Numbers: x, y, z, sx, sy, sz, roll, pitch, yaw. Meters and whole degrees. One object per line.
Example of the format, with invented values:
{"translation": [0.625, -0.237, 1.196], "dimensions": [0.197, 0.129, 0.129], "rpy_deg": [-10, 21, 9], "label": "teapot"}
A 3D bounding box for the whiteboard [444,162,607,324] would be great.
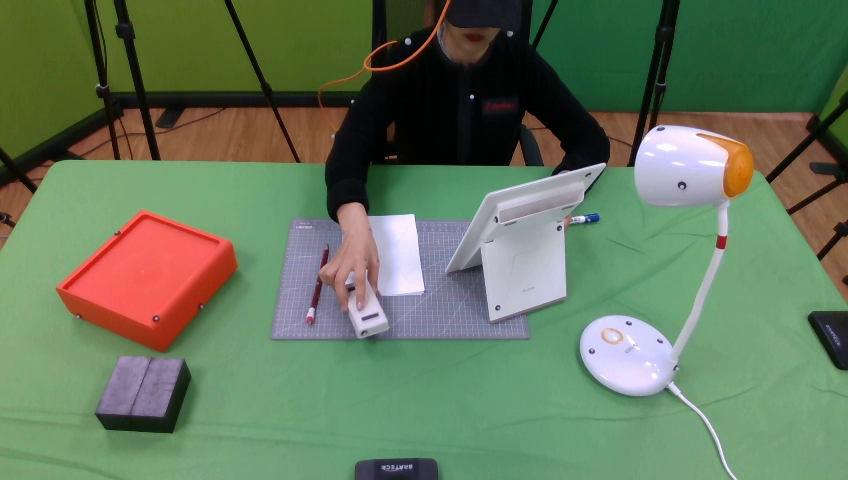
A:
{"translation": [0.186, 0.025, 1.029], "dimensions": [0.217, 0.306, 0.143], "rpy_deg": [-15, 68, -18], "label": "whiteboard"}

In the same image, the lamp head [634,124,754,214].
{"translation": [0.351, -0.089, 0.775], "dimensions": [0.112, 0.113, 0.122], "rpy_deg": [-30, 30, -28], "label": "lamp head"}

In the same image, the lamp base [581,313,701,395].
{"translation": [0.361, 0.144, 0.973], "dimensions": [0.178, 0.181, 0.160], "rpy_deg": [34, 53, 23], "label": "lamp base"}

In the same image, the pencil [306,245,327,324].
{"translation": [-0.196, 0.076, 1.115], "dimensions": [0.012, 0.012, 0.193], "rpy_deg": [4, 44, 0], "label": "pencil"}

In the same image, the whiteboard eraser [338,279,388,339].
{"translation": [-0.106, 0.120, 1.045], "dimensions": [0.056, 0.042, 0.112], "rpy_deg": [-13, 44, -20], "label": "whiteboard eraser"}

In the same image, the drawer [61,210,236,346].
{"translation": [-0.474, 0.061, 1.063], "dimensions": [0.194, 0.073, 0.211], "rpy_deg": [19, 49, 13], "label": "drawer"}

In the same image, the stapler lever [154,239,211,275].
{"translation": [-0.435, 0.027, 1.090], "dimensions": [0.118, 0.040, 0.027], "rpy_deg": [24, 50, 14], "label": "stapler lever"}

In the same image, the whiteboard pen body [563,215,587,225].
{"translation": [0.292, -0.040, 1.261], "dimensions": [0.141, 0.017, 0.017], "rpy_deg": [-7, 47, -10], "label": "whiteboard pen body"}

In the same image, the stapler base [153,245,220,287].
{"translation": [-0.436, 0.042, 1.108], "dimensions": [0.130, 0.024, 0.041], "rpy_deg": [23, 50, 15], "label": "stapler base"}

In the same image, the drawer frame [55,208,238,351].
{"translation": [-0.474, 0.062, 1.059], "dimensions": [0.201, 0.083, 0.213], "rpy_deg": [18, 48, 12], "label": "drawer frame"}

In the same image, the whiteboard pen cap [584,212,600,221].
{"translation": [0.351, -0.048, 1.271], "dimensions": [0.033, 0.018, 0.018], "rpy_deg": [-6, 47, -11], "label": "whiteboard pen cap"}
